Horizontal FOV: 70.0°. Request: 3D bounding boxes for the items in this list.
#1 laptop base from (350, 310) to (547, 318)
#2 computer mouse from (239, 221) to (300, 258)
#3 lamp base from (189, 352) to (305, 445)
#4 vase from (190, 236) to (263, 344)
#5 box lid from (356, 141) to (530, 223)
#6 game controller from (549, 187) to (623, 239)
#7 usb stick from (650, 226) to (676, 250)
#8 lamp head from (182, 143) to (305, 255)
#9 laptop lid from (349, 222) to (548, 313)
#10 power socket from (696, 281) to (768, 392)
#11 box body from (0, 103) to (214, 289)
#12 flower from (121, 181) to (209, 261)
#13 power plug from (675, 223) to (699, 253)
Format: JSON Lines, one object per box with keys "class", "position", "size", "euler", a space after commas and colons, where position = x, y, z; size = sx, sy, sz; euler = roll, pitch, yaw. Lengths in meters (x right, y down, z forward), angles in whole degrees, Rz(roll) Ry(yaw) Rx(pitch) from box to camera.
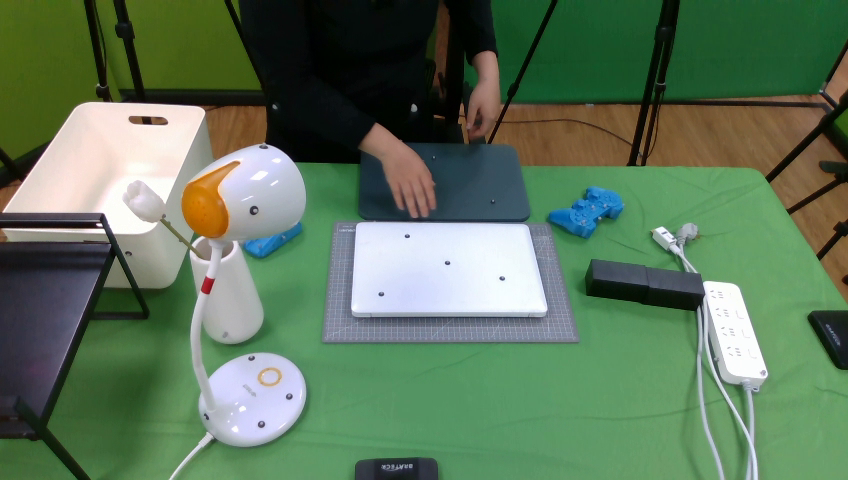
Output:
{"class": "laptop base", "position": [0.041, 0.056, 1.149], "size": [0.355, 0.023, 0.234], "euler": [0, 43, -4]}
{"class": "computer mouse", "position": [-0.300, -0.016, 1.178], "size": [0.062, 0.041, 0.117], "euler": [35, 57, 22]}
{"class": "lamp base", "position": [-0.268, 0.196, 0.876], "size": [0.160, 0.181, 0.179], "euler": [26, 52, 20]}
{"class": "vase", "position": [-0.317, 0.081, 0.971], "size": [0.098, 0.201, 0.097], "euler": [3, 47, -3]}
{"class": "box lid", "position": [0.040, -0.132, 1.339], "size": [0.372, 0.015, 0.261], "euler": [0, 46, -4]}
{"class": "game controller", "position": [0.345, -0.065, 1.272], "size": [0.155, 0.052, 0.096], "euler": [-31, 58, -28]}
{"class": "usb stick", "position": [0.485, -0.008, 1.237], "size": [0.021, 0.027, 0.059], "euler": [-22, 44, -13]}
{"class": "lamp head", "position": [-0.216, -0.044, 0.697], "size": [0.112, 0.113, 0.123], "euler": [23, 31, 17]}
{"class": "laptop lid", "position": [0.042, 0.046, 1.142], "size": [0.357, 0.013, 0.240], "euler": [2, 44, -3]}
{"class": "power socket", "position": [0.543, 0.161, 1.077], "size": [0.072, 0.033, 0.225], "euler": [5, 46, 2]}
{"class": "box body", "position": [-0.563, -0.087, 1.139], "size": [0.254, 0.161, 0.361], "euler": [2, 46, -3]}
{"class": "flower", "position": [-0.329, 0.029, 0.905], "size": [0.038, 0.364, 0.044], "euler": [-22, 58, -1]}
{"class": "power plug", "position": [0.537, 0.000, 1.244], "size": [0.053, 0.035, 0.072], "euler": [20, 82, -18]}
